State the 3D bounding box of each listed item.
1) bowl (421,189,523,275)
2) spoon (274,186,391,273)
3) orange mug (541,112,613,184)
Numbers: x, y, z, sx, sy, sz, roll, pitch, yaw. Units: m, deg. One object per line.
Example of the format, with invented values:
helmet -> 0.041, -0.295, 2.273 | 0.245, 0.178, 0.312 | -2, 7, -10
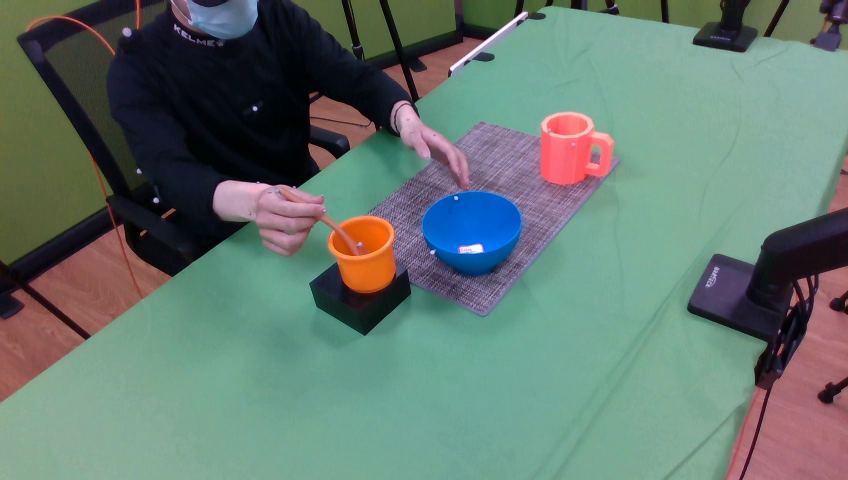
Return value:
bowl -> 0.073, -0.001, 0.910 | 0.151, 0.077, 0.150 | -4, 41, 4
spoon -> -0.121, -0.014, 0.816 | 0.021, 0.195, 0.041 | -40, 24, 20
orange mug -> 0.263, -0.157, 1.050 | 0.125, 0.101, 0.083 | 14, 45, 29
